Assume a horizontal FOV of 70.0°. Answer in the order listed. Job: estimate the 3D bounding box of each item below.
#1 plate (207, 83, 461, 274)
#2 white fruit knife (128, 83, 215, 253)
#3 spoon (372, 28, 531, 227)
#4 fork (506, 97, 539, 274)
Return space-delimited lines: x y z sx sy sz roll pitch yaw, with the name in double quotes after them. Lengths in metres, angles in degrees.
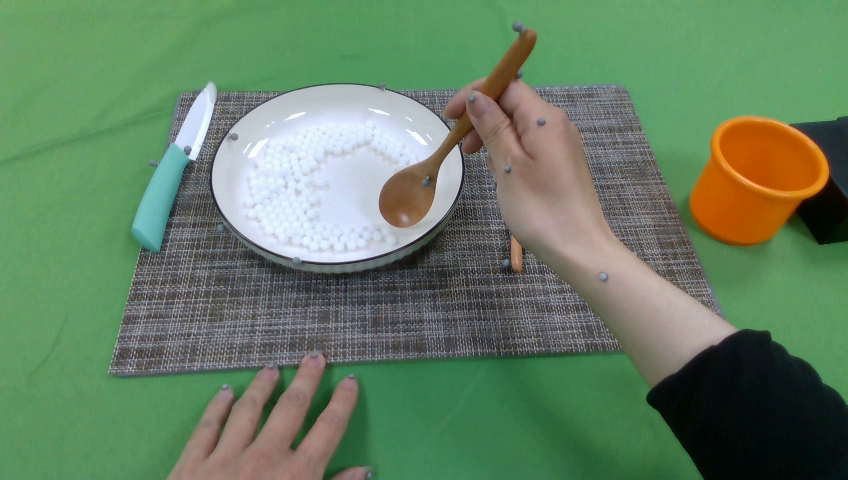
-0.072 -0.054 0.514 0.209 0.038 0.207 2 53 -2 "plate"
-0.218 -0.075 0.537 0.027 0.016 0.205 23 47 -22 "white fruit knife"
0.015 -0.069 0.421 0.042 0.194 0.021 38 47 -5 "spoon"
0.086 -0.055 0.536 0.018 0.028 0.205 -9 49 30 "fork"
